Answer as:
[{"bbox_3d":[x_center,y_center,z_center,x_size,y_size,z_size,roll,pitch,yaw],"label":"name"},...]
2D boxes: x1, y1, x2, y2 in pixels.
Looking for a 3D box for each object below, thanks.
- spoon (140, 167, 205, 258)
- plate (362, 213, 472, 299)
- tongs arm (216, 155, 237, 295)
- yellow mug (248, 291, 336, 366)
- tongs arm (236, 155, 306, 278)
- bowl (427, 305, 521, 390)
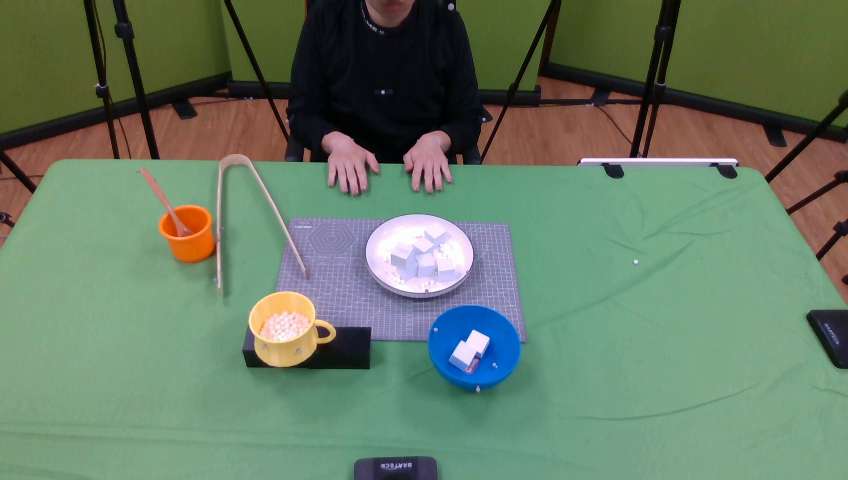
[{"bbox_3d":[-0.467,-0.051,1.122,0.041,0.194,0.021,-34,13,-28],"label":"spoon"},{"bbox_3d":[-0.014,0.034,1.149,0.208,0.039,0.206,3,46,-2],"label":"plate"},{"bbox_3d":[-0.388,-0.043,1.201,0.051,0.026,0.382,-10,46,-12],"label":"tongs arm"},{"bbox_3d":[-0.203,0.139,0.948,0.131,0.064,0.099,5,46,0],"label":"yellow mug"},{"bbox_3d":[-0.311,-0.059,1.223,0.028,0.028,0.385,-22,50,-18],"label":"tongs arm"},{"bbox_3d":[0.076,0.188,0.985,0.151,0.077,0.150,3,46,-3],"label":"bowl"}]
